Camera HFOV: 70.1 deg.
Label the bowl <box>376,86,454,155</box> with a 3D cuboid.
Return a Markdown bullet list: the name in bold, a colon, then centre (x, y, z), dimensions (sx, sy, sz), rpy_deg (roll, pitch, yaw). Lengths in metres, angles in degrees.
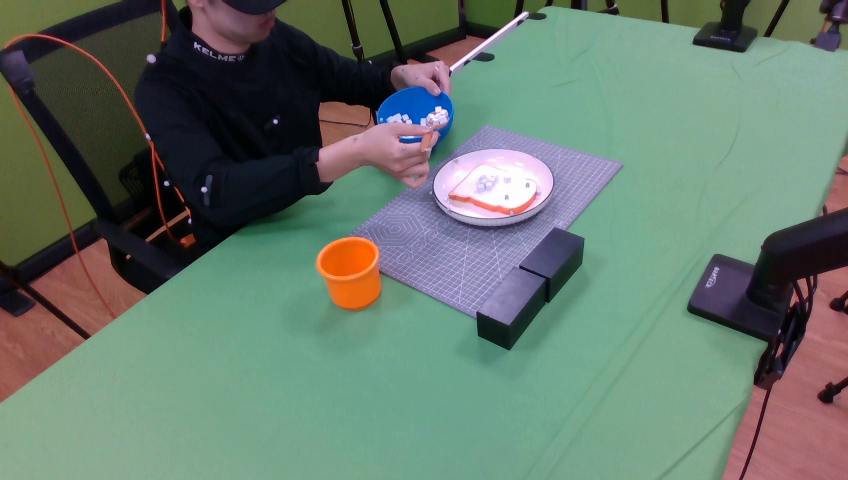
- **bowl**: centre (-0.012, -0.220, 1.175), dimensions (0.151, 0.077, 0.150), rpy_deg (-5, 52, 7)

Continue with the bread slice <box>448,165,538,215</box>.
- **bread slice**: centre (0.126, -0.085, 1.038), dimensions (0.133, 0.018, 0.107), rpy_deg (16, 45, 27)

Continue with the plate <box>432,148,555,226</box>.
- **plate**: centre (0.119, -0.087, 1.037), dimensions (0.209, 0.038, 0.208), rpy_deg (-4, 40, 4)

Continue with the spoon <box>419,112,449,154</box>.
- **spoon**: centre (0.010, -0.178, 0.987), dimensions (0.041, 0.022, 0.193), rpy_deg (3, 25, 9)
